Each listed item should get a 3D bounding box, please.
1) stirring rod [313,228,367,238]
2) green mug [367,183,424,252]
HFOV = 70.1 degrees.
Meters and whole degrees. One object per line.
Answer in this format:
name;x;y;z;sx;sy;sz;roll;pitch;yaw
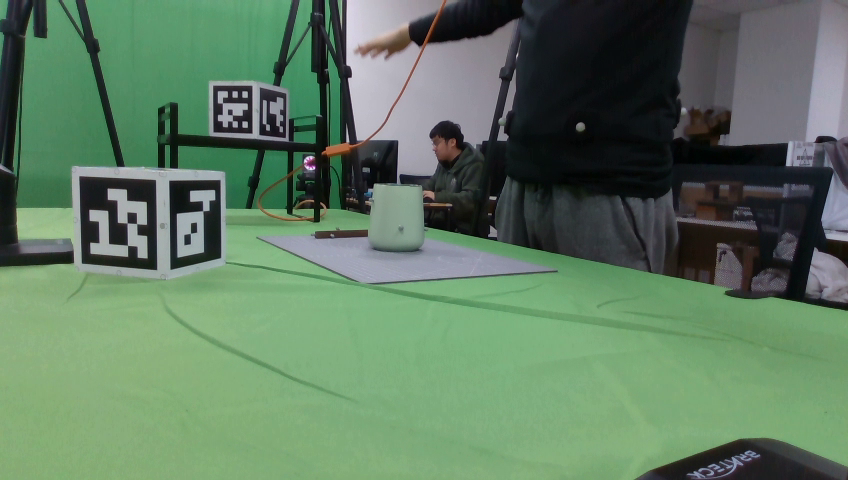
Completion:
stirring rod;-0.123;-0.014;1.114;0.177;0.014;0.006;-3;3;-35
green mug;-0.053;-0.040;0.989;0.093;0.105;0.124;-1;8;-29
